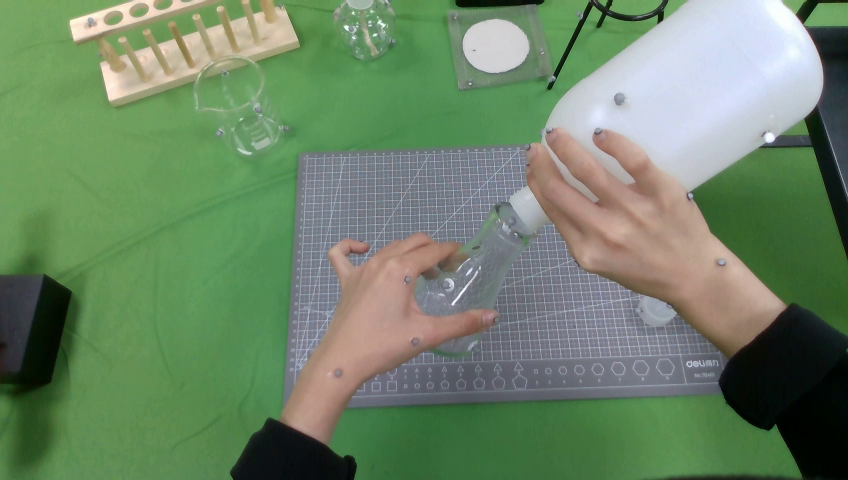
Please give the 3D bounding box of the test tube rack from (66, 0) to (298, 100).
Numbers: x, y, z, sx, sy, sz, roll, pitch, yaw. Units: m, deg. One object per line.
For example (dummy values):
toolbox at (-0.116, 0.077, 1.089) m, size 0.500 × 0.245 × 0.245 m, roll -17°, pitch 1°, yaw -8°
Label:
test tube rack at (-0.288, -0.259, 0.740) m, size 0.242 × 0.086 × 0.066 m, roll -21°, pitch 68°, yaw -8°

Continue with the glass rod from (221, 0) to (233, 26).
glass rod at (-0.243, -0.319, 0.693) m, size 0.008 × 0.201 × 0.008 m, roll 2°, pitch 65°, yaw -3°

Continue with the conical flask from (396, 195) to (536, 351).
conical flask at (0.035, 0.022, 0.456) m, size 0.076 × 0.122 × 0.074 m, roll 22°, pitch 36°, yaw -17°

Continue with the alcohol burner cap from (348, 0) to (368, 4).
alcohol burner cap at (-0.078, -0.303, 0.701) m, size 0.034 × 0.048 × 0.033 m, roll 3°, pitch 65°, yaw -7°

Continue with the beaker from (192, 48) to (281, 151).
beaker at (-0.209, -0.152, 0.685) m, size 0.084 × 0.101 × 0.073 m, roll -42°, pitch 72°, yaw -15°

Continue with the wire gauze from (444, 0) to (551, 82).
wire gauze at (0.092, -0.261, 0.776) m, size 0.121 × 0.011 × 0.124 m, roll -6°, pitch 67°, yaw -3°

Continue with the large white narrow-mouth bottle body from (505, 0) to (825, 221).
large white narrow-mouth bottle body at (0.141, -0.077, 0.398) m, size 0.194 × 0.102 × 0.101 m, roll -35°, pitch 67°, yaw 15°

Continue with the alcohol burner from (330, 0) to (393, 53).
alcohol burner at (-0.077, -0.286, 0.733) m, size 0.078 × 0.120 × 0.077 m, roll 0°, pitch 65°, yaw 0°

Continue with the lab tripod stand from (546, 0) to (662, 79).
lab tripod stand at (0.220, -0.251, 0.703) m, size 0.148 × 0.132 × 0.147 m, roll 0°, pitch 66°, yaw -1°

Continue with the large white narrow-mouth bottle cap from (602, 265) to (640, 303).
large white narrow-mouth bottle cap at (0.207, 0.047, 0.637) m, size 0.038 × 0.024 × 0.037 m, roll -1°, pitch 66°, yaw 3°
